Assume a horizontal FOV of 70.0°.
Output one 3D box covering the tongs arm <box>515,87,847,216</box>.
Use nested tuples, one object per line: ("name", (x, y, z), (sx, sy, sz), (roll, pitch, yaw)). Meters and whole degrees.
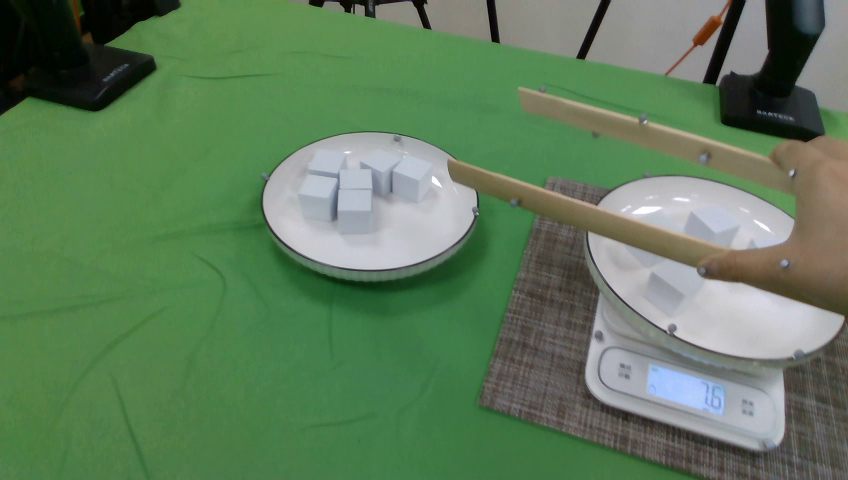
("tongs arm", (0.205, -0.039, 0.406), (0.381, 0.027, 0.050), (27, 61, 36))

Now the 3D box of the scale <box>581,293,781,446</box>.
("scale", (0.221, 0.064, 0.514), (0.148, 0.032, 0.199), (16, 46, 12))

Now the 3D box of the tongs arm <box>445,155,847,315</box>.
("tongs arm", (0.169, -0.002, 0.386), (0.384, 0.028, 0.028), (21, 55, 34))

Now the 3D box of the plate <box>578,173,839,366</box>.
("plate", (0.231, 0.022, 0.511), (0.208, 0.039, 0.205), (3, 45, -3))

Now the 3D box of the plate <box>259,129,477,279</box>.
("plate", (-0.053, -0.035, 0.594), (0.209, 0.038, 0.207), (3, 44, -2))
